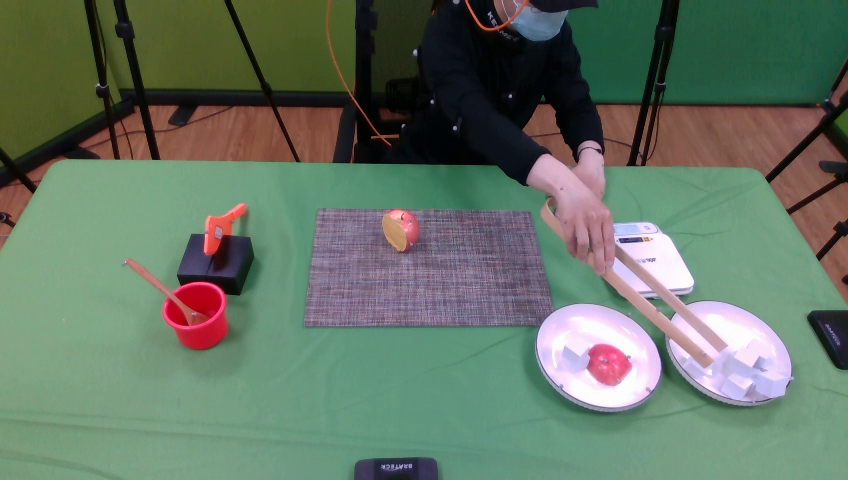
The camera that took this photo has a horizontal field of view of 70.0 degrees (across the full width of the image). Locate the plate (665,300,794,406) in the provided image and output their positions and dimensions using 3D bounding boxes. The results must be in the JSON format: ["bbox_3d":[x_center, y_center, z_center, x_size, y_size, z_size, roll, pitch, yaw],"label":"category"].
[{"bbox_3d":[0.513,0.194,1.034,0.208,0.039,0.206,2,46,-2],"label":"plate"}]

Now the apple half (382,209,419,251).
[{"bbox_3d":[-0.039,-0.022,1.175,0.053,0.075,0.080,-27,49,-31],"label":"apple half"}]

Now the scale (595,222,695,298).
[{"bbox_3d":[0.424,0.031,1.189,0.149,0.032,0.199,-3,46,-7],"label":"scale"}]

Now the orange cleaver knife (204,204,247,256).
[{"bbox_3d":[-0.374,-0.024,1.146,0.012,0.077,0.211,4,14,1],"label":"orange cleaver knife"}]

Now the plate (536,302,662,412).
[{"bbox_3d":[0.288,0.196,1.016,0.209,0.038,0.208,2,47,-2],"label":"plate"}]

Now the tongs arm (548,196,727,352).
[{"bbox_3d":[0.365,0.053,1.064,0.028,0.028,0.386,-32,69,-36],"label":"tongs arm"}]

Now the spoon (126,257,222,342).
[{"bbox_3d":[-0.408,0.096,0.990,0.194,0.021,0.041,50,53,-18],"label":"spoon"}]

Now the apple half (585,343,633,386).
[{"bbox_3d":[0.309,0.198,1.008,0.081,0.033,0.081,4,48,-4],"label":"apple half"}]

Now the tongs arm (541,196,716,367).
[{"bbox_3d":[0.344,0.064,1.044,0.383,0.026,0.051,43,49,16],"label":"tongs arm"}]
